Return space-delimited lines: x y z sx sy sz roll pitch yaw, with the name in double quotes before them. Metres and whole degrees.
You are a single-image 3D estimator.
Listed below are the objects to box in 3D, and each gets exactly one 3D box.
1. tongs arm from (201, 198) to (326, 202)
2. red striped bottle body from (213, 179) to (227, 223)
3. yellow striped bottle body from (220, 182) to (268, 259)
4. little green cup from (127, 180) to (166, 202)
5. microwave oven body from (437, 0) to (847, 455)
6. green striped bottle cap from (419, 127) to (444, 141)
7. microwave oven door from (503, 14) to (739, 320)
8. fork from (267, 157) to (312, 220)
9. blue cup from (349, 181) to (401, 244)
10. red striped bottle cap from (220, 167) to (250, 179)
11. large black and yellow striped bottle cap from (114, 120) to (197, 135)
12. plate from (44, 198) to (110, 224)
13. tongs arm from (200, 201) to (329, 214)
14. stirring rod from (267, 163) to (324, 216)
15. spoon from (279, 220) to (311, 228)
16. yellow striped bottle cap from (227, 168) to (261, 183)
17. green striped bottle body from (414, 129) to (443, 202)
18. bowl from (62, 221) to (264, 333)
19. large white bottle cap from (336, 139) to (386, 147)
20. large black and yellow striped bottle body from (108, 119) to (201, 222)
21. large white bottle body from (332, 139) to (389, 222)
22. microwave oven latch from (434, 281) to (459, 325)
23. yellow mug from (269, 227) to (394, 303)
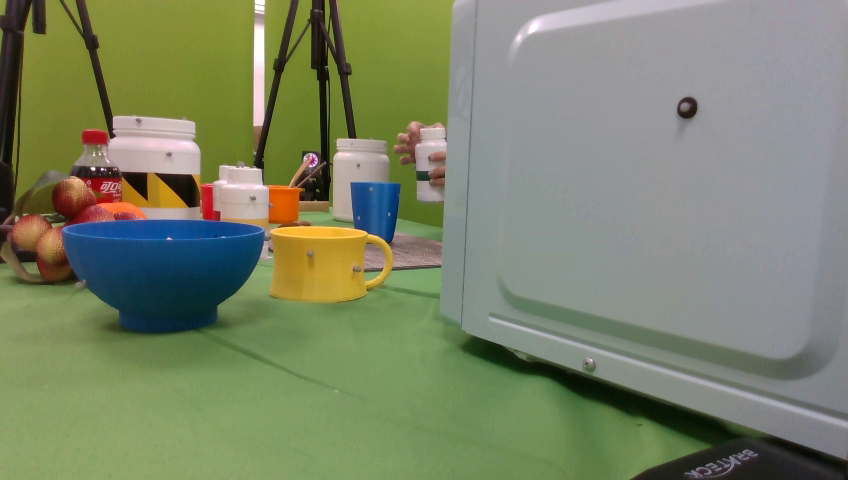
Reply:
"tongs arm" -0.433 -0.090 1.508 0.390 0.028 0.028 -1 2 -29
"red striped bottle body" -0.284 -0.048 0.910 0.063 0.119 0.063 3 12 0
"yellow striped bottle body" -0.246 -0.036 0.825 0.063 0.120 0.063 3 8 0
"little green cup" -0.485 -0.086 1.061 0.061 0.038 0.061 1 7 0
"microwave oven body" 0.279 -0.040 0.465 0.444 0.260 0.324 -3 9 -41
"green striped bottle cap" 0.014 -0.177 1.019 0.044 0.020 0.044 1 21 0
"microwave oven door" 0.218 -0.065 0.600 0.358 0.243 0.039 -4 10 -41
"fork" -0.289 -0.116 1.321 0.028 0.019 0.207 6 51 19
"blue cup" -0.082 -0.047 1.009 0.093 0.100 0.092 1 6 0
"red striped bottle cap" -0.281 -0.100 0.901 0.044 0.017 0.044 -1 5 0
"large black and yellow striped bottle cap" -0.407 -0.171 0.920 0.115 0.019 0.115 2 9 0
"plate" -0.617 -0.056 1.179 0.209 0.038 0.209 3 7 0
"tongs arm" -0.378 -0.079 1.440 0.387 0.026 0.050 -4 7 -44
"stirring rod" -0.278 -0.105 1.294 0.176 0.006 0.014 -47 25 -18
"spoon" -0.232 -0.027 1.116 0.041 0.021 0.193 -22 6 4
"yellow striped bottle cap" -0.243 -0.087 0.818 0.044 0.018 0.044 3 6 0
"green striped bottle body" 0.016 -0.127 1.027 0.063 0.119 0.063 -2 10 1
"bowl" -0.209 0.029 0.496 0.151 0.077 0.151 2 7 0
"large white bottle cap" -0.143 -0.219 1.375 0.115 0.018 0.115 2 8 0
"large black and yellow striped bottle body" -0.412 -0.088 0.930 0.131 0.184 0.130 3 7 0
"large white bottle body" -0.145 -0.136 1.387 0.131 0.184 0.130 2 7 0
"microwave oven latch" 0.044 0.045 0.470 0.079 0.029 0.030 -2 8 -39
"yellow mug" -0.094 0.023 0.629 0.131 0.064 0.099 0 7 -22
